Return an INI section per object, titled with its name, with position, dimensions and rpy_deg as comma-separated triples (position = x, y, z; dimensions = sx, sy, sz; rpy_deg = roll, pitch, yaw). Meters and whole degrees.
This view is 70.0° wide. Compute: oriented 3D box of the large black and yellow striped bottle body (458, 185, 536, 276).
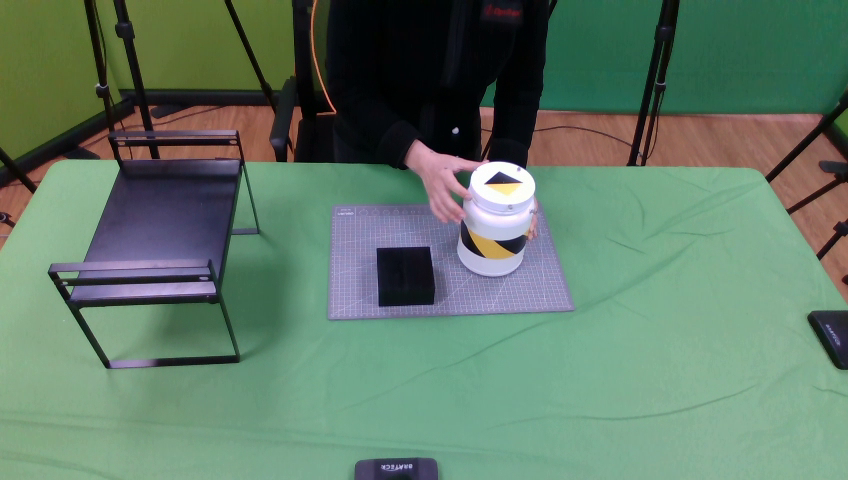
[large black and yellow striped bottle body]
position = 0.134, -0.036, 1.124
dimensions = 0.131, 0.185, 0.130
rpy_deg = 2, 46, -2

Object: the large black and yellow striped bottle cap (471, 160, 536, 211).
[large black and yellow striped bottle cap]
position = 0.139, -0.097, 1.062
dimensions = 0.115, 0.019, 0.114
rpy_deg = 2, 48, -2
